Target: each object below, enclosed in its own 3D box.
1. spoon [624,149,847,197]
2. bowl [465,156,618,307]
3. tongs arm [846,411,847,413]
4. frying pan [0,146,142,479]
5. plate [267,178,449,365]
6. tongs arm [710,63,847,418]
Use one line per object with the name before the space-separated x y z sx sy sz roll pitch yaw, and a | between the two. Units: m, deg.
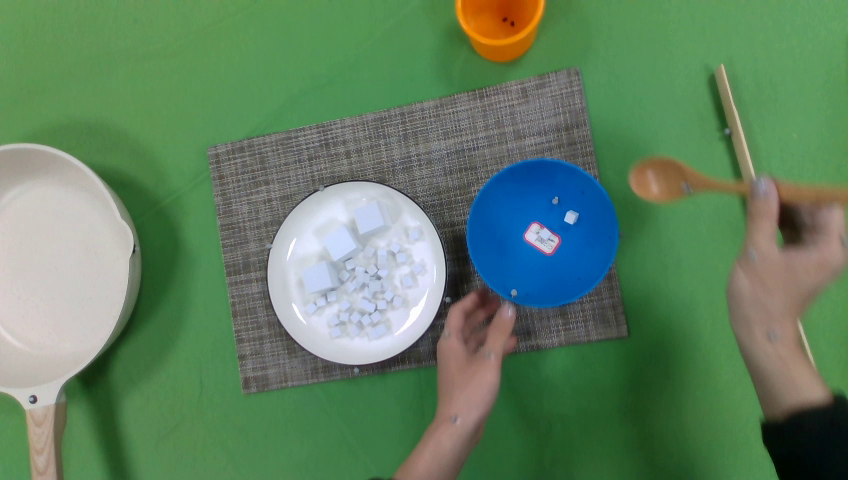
spoon | 0.238 -0.046 0.470 0.022 0.192 0.042 -11 105 -28
bowl | 0.121 -0.006 0.637 0.151 0.077 0.151 0 87 9
tongs arm | 0.444 -0.013 0.614 0.050 0.026 0.384 -4 88 9
frying pan | -0.452 0.136 0.711 0.306 0.103 0.485 -13 77 9
plate | -0.073 0.035 0.686 0.207 0.039 0.207 0 88 9
tongs arm | 0.365 -0.001 0.629 0.028 0.028 0.386 -17 86 5
